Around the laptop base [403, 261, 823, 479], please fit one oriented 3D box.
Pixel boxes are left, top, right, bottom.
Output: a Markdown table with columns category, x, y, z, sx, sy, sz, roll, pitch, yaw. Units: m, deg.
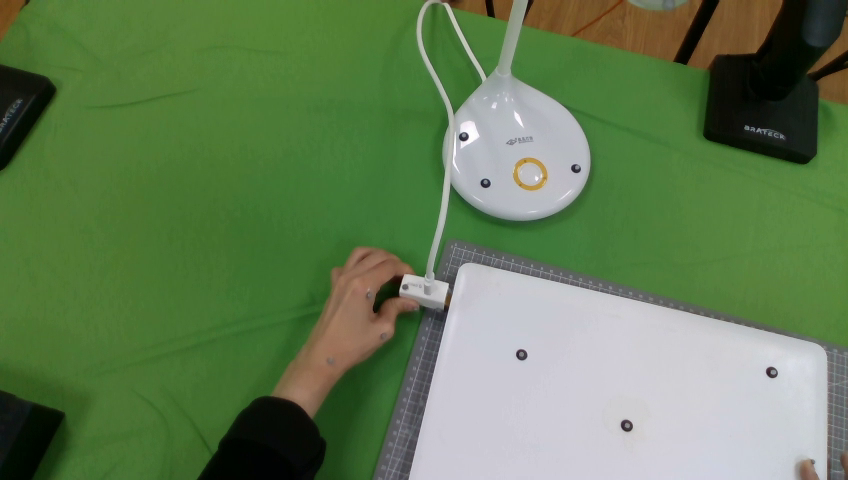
| category | x | y | z | sx | sy | sz | roll | pitch | yaw |
| --- | --- | --- | --- | --- | --- | --- | --- | --- | --- |
| laptop base | 0.175 | 0.164 | 0.545 | 0.354 | 0.023 | 0.234 | 13 | 71 | 4 |

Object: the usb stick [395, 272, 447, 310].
| category | x | y | z | sx | sy | sz | roll | pitch | yaw |
| --- | --- | --- | --- | --- | --- | --- | --- | --- | --- |
| usb stick | 0.003 | 0.050 | 0.576 | 0.059 | 0.027 | 0.021 | 14 | 62 | 2 |

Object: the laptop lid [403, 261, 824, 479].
| category | x | y | z | sx | sy | sz | roll | pitch | yaw |
| --- | --- | --- | --- | --- | --- | --- | --- | --- | --- |
| laptop lid | 0.174 | 0.162 | 0.535 | 0.356 | 0.013 | 0.240 | 15 | 70 | 4 |

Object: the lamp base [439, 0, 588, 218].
| category | x | y | z | sx | sy | sz | roll | pitch | yaw |
| --- | --- | --- | --- | --- | --- | --- | --- | --- | --- |
| lamp base | 0.092 | -0.138 | 0.587 | 0.161 | 0.181 | 0.177 | -21 | 66 | -11 |
